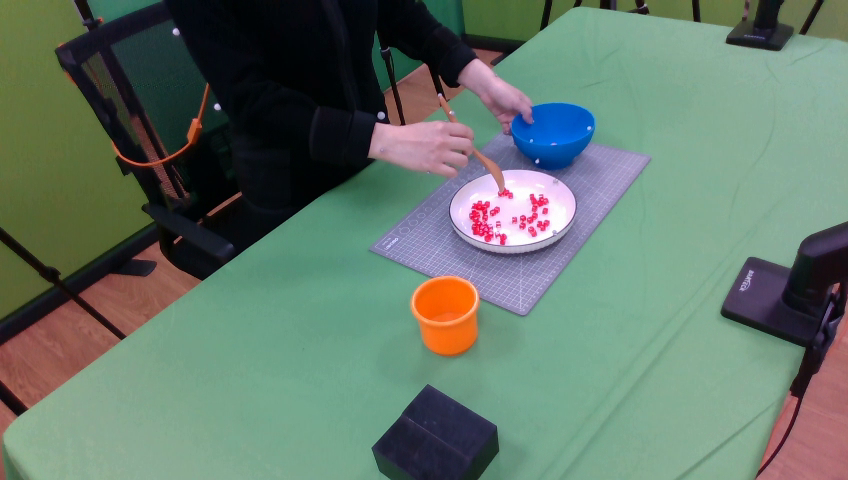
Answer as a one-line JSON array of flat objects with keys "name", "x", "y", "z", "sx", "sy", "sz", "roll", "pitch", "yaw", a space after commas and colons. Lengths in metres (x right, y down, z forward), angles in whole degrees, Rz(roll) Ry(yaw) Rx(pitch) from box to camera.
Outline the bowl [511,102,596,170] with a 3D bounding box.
[{"name": "bowl", "x": 0.237, "y": -0.182, "z": 1.107, "sx": 0.151, "sy": 0.077, "sz": 0.150, "roll": -6, "pitch": 40, "yaw": 5}]

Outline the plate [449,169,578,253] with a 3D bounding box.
[{"name": "plate", "x": 0.146, "y": -0.044, "z": 0.993, "sx": 0.209, "sy": 0.038, "sz": 0.208, "roll": -5, "pitch": 40, "yaw": 5}]

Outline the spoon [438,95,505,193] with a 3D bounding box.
[{"name": "spoon", "x": 0.075, "y": -0.143, "z": 0.920, "sx": 0.021, "sy": 0.195, "sz": 0.041, "roll": -26, "pitch": 35, "yaw": 27}]
